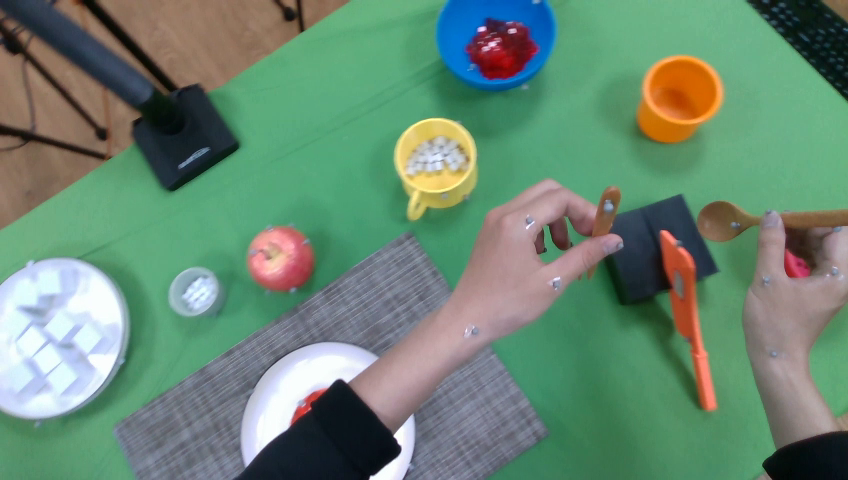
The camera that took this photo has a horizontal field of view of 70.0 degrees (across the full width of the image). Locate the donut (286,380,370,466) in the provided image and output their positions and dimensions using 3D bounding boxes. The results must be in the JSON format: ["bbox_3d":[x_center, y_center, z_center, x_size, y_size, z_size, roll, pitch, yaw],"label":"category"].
[{"bbox_3d":[-0.112,0.213,0.706,0.099,0.048,0.098,-1,79,6],"label":"donut"}]

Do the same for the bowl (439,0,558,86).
[{"bbox_3d":[0.097,-0.261,0.795,0.151,0.077,0.150,-1,77,6],"label":"bowl"}]

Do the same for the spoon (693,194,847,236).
[{"bbox_3d":[0.294,-0.022,0.524,0.022,0.193,0.041,-3,92,-5],"label":"spoon"}]

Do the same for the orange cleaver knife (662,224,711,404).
[{"bbox_3d":[0.296,0.085,0.687,0.012,0.077,0.212,-15,107,4],"label":"orange cleaver knife"}]

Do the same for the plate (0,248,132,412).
[{"bbox_3d":[-0.472,0.115,0.782,0.207,0.039,0.206,-1,77,5],"label":"plate"}]

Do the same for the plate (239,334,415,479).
[{"bbox_3d":[-0.112,0.217,0.717,0.209,0.038,0.208,-1,77,6],"label":"plate"}]

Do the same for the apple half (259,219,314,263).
[{"bbox_3d":[-0.164,-0.004,0.761,0.081,0.081,0.033,35,86,13],"label":"apple half"}]

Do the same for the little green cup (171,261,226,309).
[{"bbox_3d":[-0.286,0.061,0.776,0.061,0.039,0.061,-1,76,6],"label":"little green cup"}]

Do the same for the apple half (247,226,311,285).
[{"bbox_3d":[-0.186,0.028,0.757,0.080,0.075,0.053,35,87,9],"label":"apple half"}]

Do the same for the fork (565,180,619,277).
[{"bbox_3d":[0.132,-0.002,0.478,0.028,0.208,0.018,-1,74,8],"label":"fork"}]

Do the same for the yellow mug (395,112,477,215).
[{"bbox_3d":[0.010,-0.091,0.769,0.099,0.064,0.130,24,81,10],"label":"yellow mug"}]
